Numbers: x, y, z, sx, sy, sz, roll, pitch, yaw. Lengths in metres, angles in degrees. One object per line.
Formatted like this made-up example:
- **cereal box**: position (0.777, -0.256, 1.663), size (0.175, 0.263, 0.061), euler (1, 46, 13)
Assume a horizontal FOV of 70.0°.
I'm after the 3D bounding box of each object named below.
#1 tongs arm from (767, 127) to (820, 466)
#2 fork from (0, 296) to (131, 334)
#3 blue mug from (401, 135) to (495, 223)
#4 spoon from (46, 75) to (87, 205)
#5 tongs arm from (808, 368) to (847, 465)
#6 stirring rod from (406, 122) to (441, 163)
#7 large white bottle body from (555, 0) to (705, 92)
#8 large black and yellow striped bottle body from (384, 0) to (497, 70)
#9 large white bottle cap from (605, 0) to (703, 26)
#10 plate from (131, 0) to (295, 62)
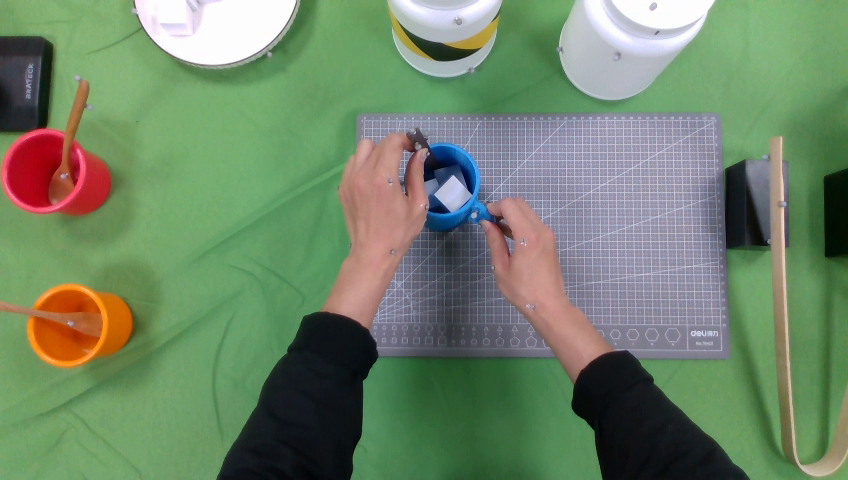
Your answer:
- **tongs arm**: position (0.414, 0.067, 0.678), size (0.051, 0.026, 0.385), euler (-5, 97, -2)
- **fork**: position (-0.433, 0.073, 0.667), size (0.209, 0.018, 0.028), euler (22, 84, -41)
- **blue mug**: position (0.031, -0.057, 0.691), size (0.116, 0.106, 0.082), euler (34, 86, 3)
- **spoon**: position (-0.403, -0.109, 0.685), size (0.041, 0.021, 0.194), euler (46, 131, 7)
- **tongs arm**: position (0.496, 0.068, 0.679), size (0.028, 0.027, 0.388), euler (8, 97, -7)
- **stirring rod**: position (0.002, -0.099, 0.633), size (0.014, 0.176, 0.006), euler (-31, 84, 6)
- **large white bottle body**: position (0.225, -0.255, 0.667), size (0.130, 0.185, 0.130), euler (0, 85, 1)
- **large black and yellow striped bottle body**: position (0.019, -0.283, 0.673), size (0.131, 0.184, 0.130), euler (0, 84, 1)
- **large white bottle cap**: position (0.223, -0.264, 0.584), size (0.115, 0.018, 0.114), euler (0, 85, 0)
- **plate**: position (-0.257, -0.319, 0.753), size (0.208, 0.039, 0.207), euler (0, 86, 1)
